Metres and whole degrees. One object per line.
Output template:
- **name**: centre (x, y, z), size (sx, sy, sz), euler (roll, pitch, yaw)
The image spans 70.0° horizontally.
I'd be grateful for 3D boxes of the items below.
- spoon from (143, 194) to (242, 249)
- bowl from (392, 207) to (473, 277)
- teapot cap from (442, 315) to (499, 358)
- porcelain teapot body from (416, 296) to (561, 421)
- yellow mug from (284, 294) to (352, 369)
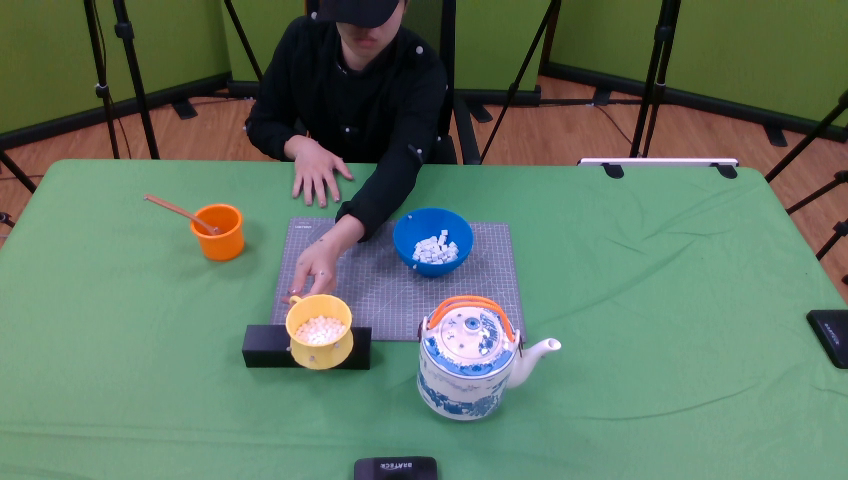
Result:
- **spoon**: centre (-0.421, -0.036, 1.112), size (0.021, 0.195, 0.041), euler (-36, 38, 24)
- **bowl**: centre (0.014, 0.017, 1.140), size (0.151, 0.077, 0.150), euler (2, 46, -2)
- **teapot cap**: centre (0.068, 0.133, 0.880), size (0.085, 0.044, 0.084), euler (4, 45, -4)
- **porcelain teapot body**: centre (0.094, 0.164, 0.907), size (0.205, 0.226, 0.144), euler (6, 45, 1)
- **yellow mug**: centre (-0.175, 0.134, 0.955), size (0.100, 0.064, 0.130), euler (-33, 56, -31)
